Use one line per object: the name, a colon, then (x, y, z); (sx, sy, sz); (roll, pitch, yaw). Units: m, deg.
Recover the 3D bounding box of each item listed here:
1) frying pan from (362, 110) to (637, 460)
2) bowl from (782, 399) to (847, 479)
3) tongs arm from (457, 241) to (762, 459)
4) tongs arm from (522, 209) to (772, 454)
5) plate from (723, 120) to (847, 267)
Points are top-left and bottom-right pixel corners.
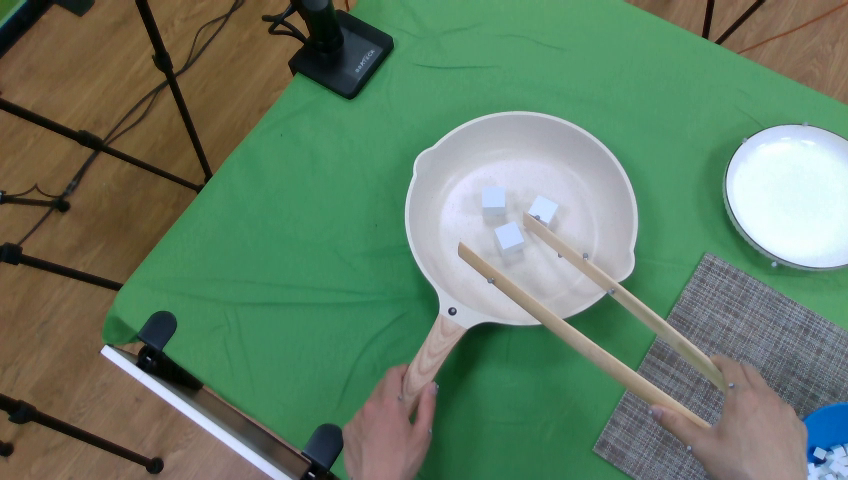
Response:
frying pan: (0.066, 0.050, 0.749); (0.305, 0.103, 0.486); (30, 66, 13)
bowl: (0.461, 0.254, 0.666); (0.151, 0.077, 0.150); (-1, 71, 3)
tongs arm: (0.167, 0.101, 0.650); (0.028, 0.028, 0.383); (-27, 45, -30)
tongs arm: (0.217, 0.076, 0.673); (0.051, 0.027, 0.380); (-24, 45, -23)
plate: (0.498, -0.060, 0.800); (0.207, 0.039, 0.206); (-1, 71, 3)
